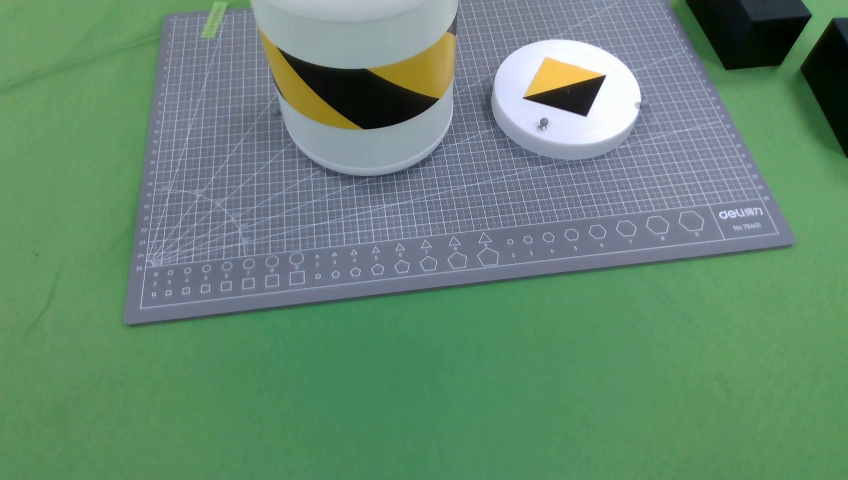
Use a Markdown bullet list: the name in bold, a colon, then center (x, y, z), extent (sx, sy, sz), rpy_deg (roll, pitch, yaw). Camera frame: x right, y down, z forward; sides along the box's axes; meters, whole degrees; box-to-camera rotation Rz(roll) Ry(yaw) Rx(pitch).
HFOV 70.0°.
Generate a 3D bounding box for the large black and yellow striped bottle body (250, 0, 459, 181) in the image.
- **large black and yellow striped bottle body**: center (-0.042, -0.142, 0.398), extent (0.131, 0.185, 0.129), rpy_deg (0, 58, 0)

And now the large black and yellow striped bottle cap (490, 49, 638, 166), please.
- **large black and yellow striped bottle cap**: center (0.110, -0.107, 0.478), extent (0.115, 0.019, 0.114), rpy_deg (1, 57, -1)
